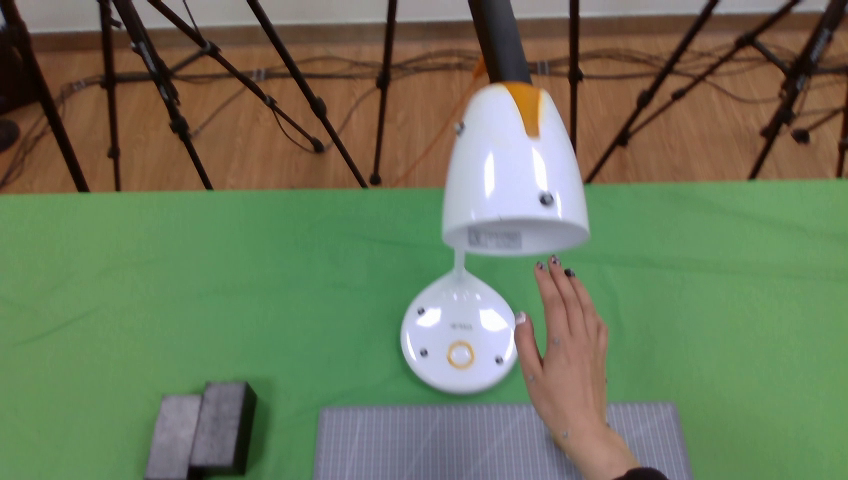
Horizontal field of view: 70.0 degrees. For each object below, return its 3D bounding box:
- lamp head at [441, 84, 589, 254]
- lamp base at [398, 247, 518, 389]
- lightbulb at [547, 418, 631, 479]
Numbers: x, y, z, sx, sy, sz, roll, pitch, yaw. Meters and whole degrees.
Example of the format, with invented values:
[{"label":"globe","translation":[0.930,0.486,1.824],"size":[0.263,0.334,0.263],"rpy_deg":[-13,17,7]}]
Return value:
[{"label":"lamp head","translation":[0.067,-0.055,0.474],"size":[0.112,0.113,0.122],"rpy_deg":[-1,71,1]},{"label":"lamp base","translation":[0.041,0.070,0.757],"size":[0.161,0.182,0.177],"rpy_deg":[-5,54,-2]},{"label":"lightbulb","translation":[0.191,0.246,0.712],"size":[0.106,0.060,0.059],"rpy_deg":[29,60,37]}]
